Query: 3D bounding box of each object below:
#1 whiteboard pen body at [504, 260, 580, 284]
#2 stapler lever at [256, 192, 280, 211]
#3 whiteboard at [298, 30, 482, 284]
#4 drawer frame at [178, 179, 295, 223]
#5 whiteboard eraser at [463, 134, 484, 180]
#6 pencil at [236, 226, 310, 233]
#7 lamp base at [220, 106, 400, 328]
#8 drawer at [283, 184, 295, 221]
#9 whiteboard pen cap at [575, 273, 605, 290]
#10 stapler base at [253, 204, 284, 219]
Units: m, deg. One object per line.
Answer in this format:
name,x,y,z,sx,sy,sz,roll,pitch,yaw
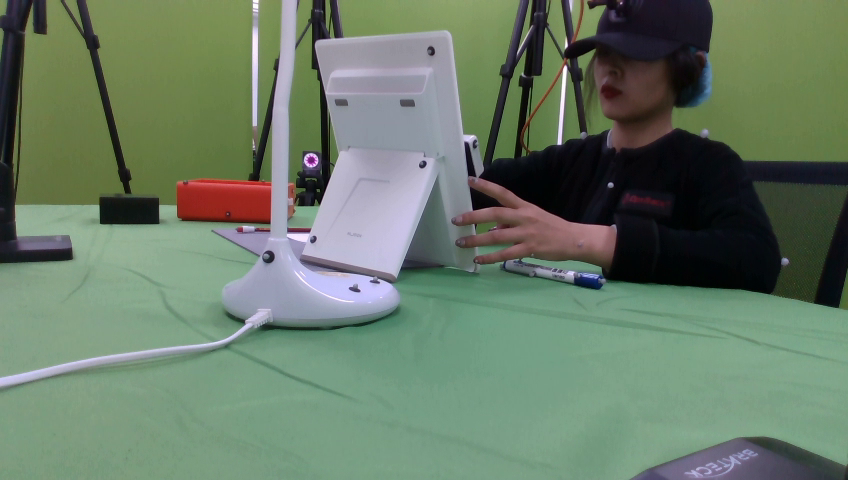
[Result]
whiteboard pen body,0.157,0.041,0.763,0.017,0.017,0.140,-4,9,-41
stapler lever,-0.337,-0.088,1.305,0.027,0.040,0.118,1,11,-2
whiteboard,-0.074,-0.082,0.739,0.216,0.305,0.144,10,30,37
drawer frame,-0.397,-0.088,1.315,0.214,0.082,0.201,1,8,-7
whiteboard eraser,0.019,-0.107,0.773,0.112,0.055,0.042,10,36,35
pencil,-0.239,-0.017,1.093,0.195,0.012,0.012,1,7,-27
lamp base,-0.101,-0.023,0.531,0.160,0.180,0.179,4,10,10
drawer,-0.394,-0.087,1.317,0.212,0.073,0.194,1,8,-7
whiteboard pen cap,0.197,0.048,0.719,0.018,0.018,0.033,-4,11,-41
stapler base,-0.336,-0.065,1.308,0.041,0.024,0.130,1,9,-2
